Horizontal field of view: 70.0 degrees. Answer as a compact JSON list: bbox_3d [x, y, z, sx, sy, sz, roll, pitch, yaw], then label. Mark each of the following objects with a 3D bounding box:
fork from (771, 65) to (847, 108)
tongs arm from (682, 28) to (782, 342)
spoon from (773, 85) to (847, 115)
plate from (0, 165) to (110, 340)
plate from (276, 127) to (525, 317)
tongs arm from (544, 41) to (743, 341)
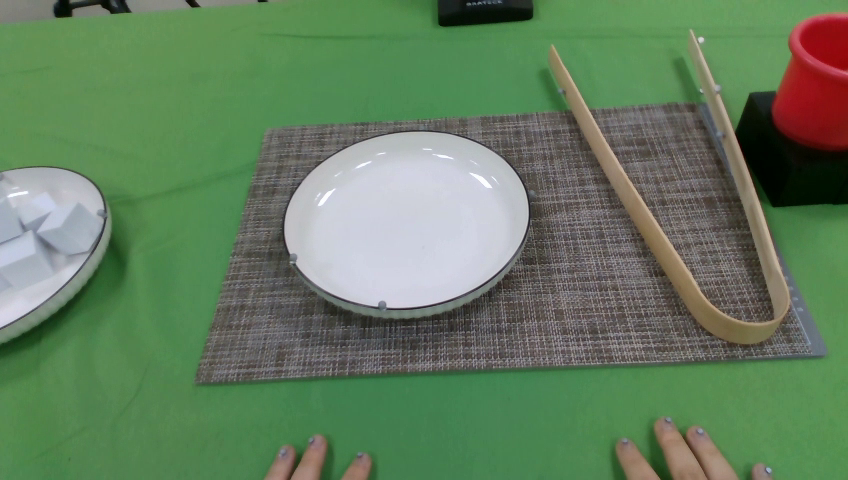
[{"bbox_3d":[0.377,-0.158,0.466,0.207,0.019,0.028,-32,17,31],"label":"fork"},{"bbox_3d":[0.258,-0.079,0.551,0.051,0.027,0.381,1,50,4],"label":"tongs arm"},{"bbox_3d":[0.350,-0.125,0.439,0.041,0.193,0.021,-31,95,-26],"label":"spoon"},{"bbox_3d":[-0.376,0.016,0.527,0.209,0.038,0.207,-2,48,3],"label":"plate"},{"bbox_3d":[-0.019,-0.017,0.518,0.207,0.039,0.205,-2,49,3],"label":"plate"},{"bbox_3d":[0.175,-0.073,0.553,0.028,0.028,0.383,-8,49,-8],"label":"tongs arm"}]
